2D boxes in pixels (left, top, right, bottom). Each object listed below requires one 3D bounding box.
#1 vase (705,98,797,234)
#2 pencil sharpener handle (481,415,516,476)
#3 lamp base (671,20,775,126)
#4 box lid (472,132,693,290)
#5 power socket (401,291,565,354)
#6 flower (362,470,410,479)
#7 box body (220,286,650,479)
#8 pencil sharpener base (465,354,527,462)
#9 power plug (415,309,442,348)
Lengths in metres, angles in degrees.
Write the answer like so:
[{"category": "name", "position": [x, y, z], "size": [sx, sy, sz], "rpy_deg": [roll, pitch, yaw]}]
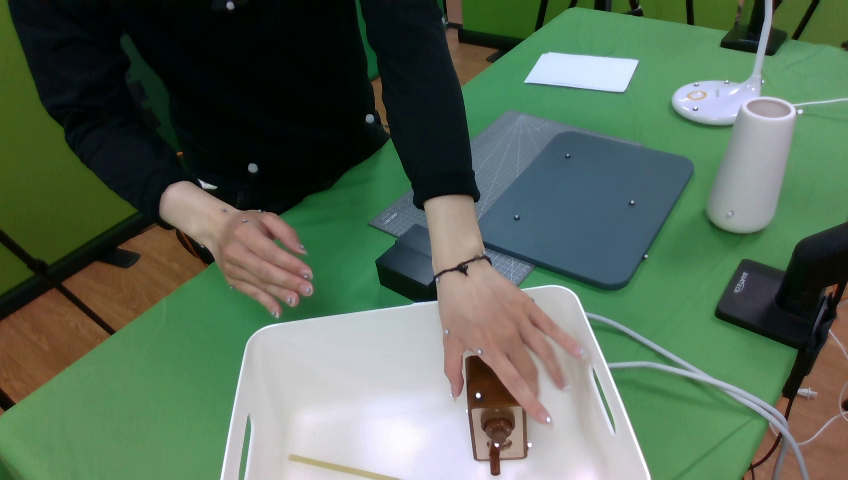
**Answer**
[{"category": "vase", "position": [0.480, -0.103, 0.888], "size": [0.098, 0.201, 0.097], "rpy_deg": [-4, 42, 4]}, {"category": "pencil sharpener handle", "position": [0.076, 0.211, 0.618], "size": [0.036, 0.068, 0.030], "rpy_deg": [1, 40, 0]}, {"category": "lamp base", "position": [0.581, -0.332, 1.153], "size": [0.179, 0.181, 0.160], "rpy_deg": [2, 42, 7]}, {"category": "box lid", "position": [0.273, -0.068, 1.019], "size": [0.261, 0.015, 0.372], "rpy_deg": [20, 47, 28]}, {"category": "power socket", "position": [0.079, 0.111, 0.823], "size": [0.227, 0.033, 0.072], "rpy_deg": [-5, 41, 1]}, {"category": "flower", "position": [0.017, 0.270, 0.654], "size": [0.360, 0.038, 0.044], "rpy_deg": [3, 19, 20]}, {"category": "box body", "position": [0.006, 0.210, 0.617], "size": [0.364, 0.161, 0.252], "rpy_deg": [-8, 40, -1]}, {"category": "pencil sharpener base", "position": [0.080, 0.188, 0.665], "size": [0.061, 0.107, 0.076], "rpy_deg": [-4, 40, 4]}, {"category": "power plug", "position": [0.004, 0.121, 0.786], "size": [0.035, 0.053, 0.072], "rpy_deg": [4, 45, 8]}]
